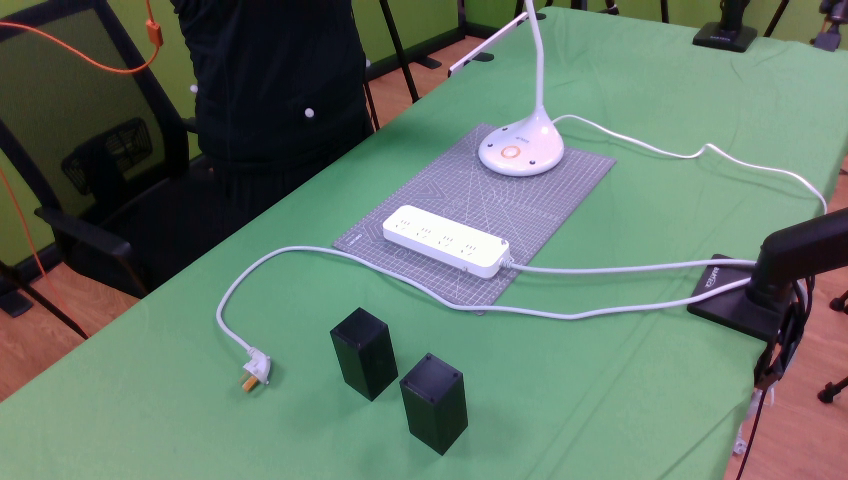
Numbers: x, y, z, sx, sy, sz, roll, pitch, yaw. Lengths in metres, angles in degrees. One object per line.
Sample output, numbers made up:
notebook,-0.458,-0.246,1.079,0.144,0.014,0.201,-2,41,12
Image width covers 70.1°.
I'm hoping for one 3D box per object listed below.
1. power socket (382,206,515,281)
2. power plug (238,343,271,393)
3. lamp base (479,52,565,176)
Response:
power socket,0.032,0.002,0.950,0.225,0.033,0.072,21,49,29
power plug,-0.230,0.172,0.801,0.072,0.035,0.053,8,50,50
lamp base,0.181,-0.235,1.093,0.159,0.181,0.179,18,44,27
